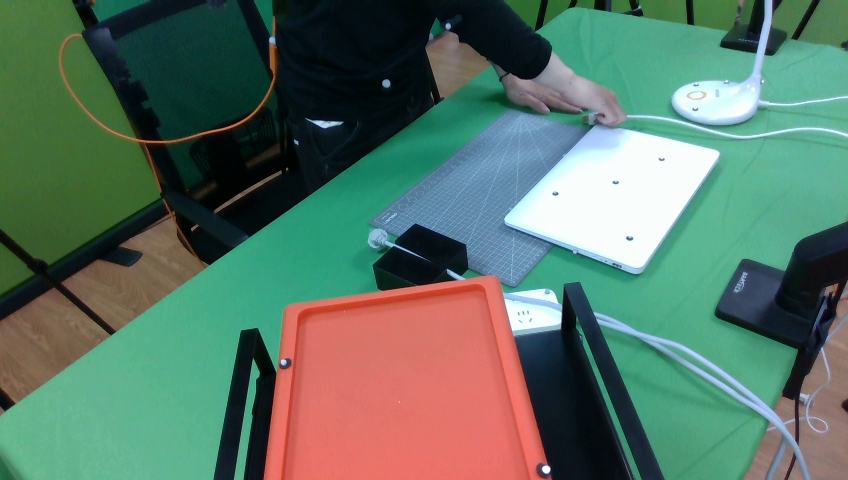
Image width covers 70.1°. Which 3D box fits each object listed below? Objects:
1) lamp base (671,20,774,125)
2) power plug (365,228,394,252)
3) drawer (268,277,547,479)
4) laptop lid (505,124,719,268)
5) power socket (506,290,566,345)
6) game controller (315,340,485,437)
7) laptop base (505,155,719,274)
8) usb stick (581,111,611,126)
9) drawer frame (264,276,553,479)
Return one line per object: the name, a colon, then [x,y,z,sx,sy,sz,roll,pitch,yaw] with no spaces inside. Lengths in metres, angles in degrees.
lamp base: [0.581,-0.332,1.154,0.179,0.181,0.160,2,41,7]
power plug: [-0.068,0.010,0.954,0.035,0.053,0.072,-37,51,0]
drawer: [-0.018,0.137,0.493,0.195,0.073,0.210,-7,41,-1]
laptop lid: [0.323,-0.093,1.021,0.240,0.013,0.358,23,49,32]
power socket: [0.081,0.112,0.822,0.227,0.033,0.072,-7,41,0]
game controller: [-0.021,0.120,0.533,0.155,0.052,0.096,-3,38,0]
laptop base: [0.326,-0.083,1.028,0.233,0.023,0.355,21,48,32]
usb stick: [0.342,-0.242,1.202,0.059,0.021,0.027,0,30,21]
drawer frame: [-0.016,0.137,0.490,0.202,0.083,0.212,-8,41,-2]
